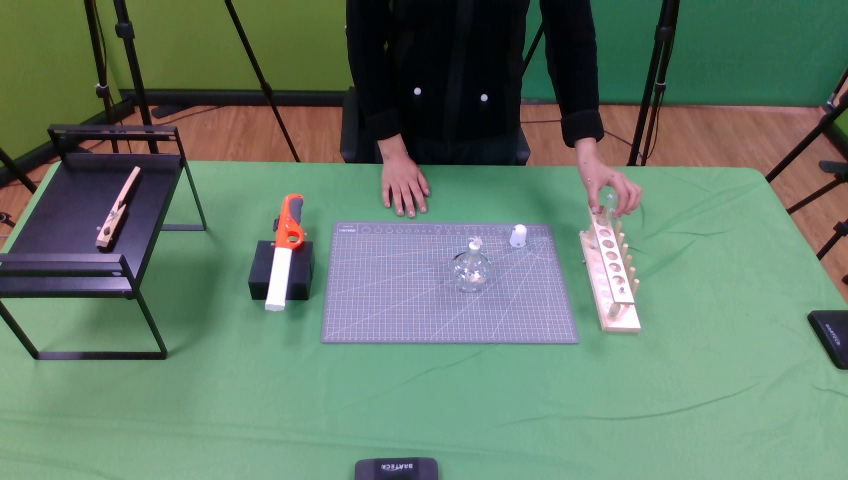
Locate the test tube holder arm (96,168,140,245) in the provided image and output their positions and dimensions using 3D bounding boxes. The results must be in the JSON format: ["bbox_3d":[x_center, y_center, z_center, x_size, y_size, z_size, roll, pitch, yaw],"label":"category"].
[{"bbox_3d":[-0.486,-0.058,0.968,0.013,0.015,0.177,27,37,-27],"label":"test tube holder arm"}]

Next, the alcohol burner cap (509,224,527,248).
[{"bbox_3d":[0.189,-0.011,1.206,0.034,0.048,0.033,2,45,-2],"label":"alcohol burner cap"}]

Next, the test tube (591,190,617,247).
[{"bbox_3d":[0.340,-0.037,1.149,0.017,0.151,0.017,1,50,-1],"label":"test tube"}]

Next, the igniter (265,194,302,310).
[{"bbox_3d":[-0.253,0.011,1.099,0.057,0.025,0.274,9,46,-13],"label":"igniter"}]

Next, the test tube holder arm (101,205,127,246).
[{"bbox_3d":[-0.480,-0.024,0.938,0.010,0.015,0.087,28,37,-26],"label":"test tube holder arm"}]

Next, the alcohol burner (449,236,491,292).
[{"bbox_3d":[0.086,0.038,1.101,0.078,0.119,0.077,3,44,-2],"label":"alcohol burner"}]

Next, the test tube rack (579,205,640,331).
[{"bbox_3d":[0.353,0.047,1.137,0.067,0.085,0.241,2,46,-2],"label":"test tube rack"}]
